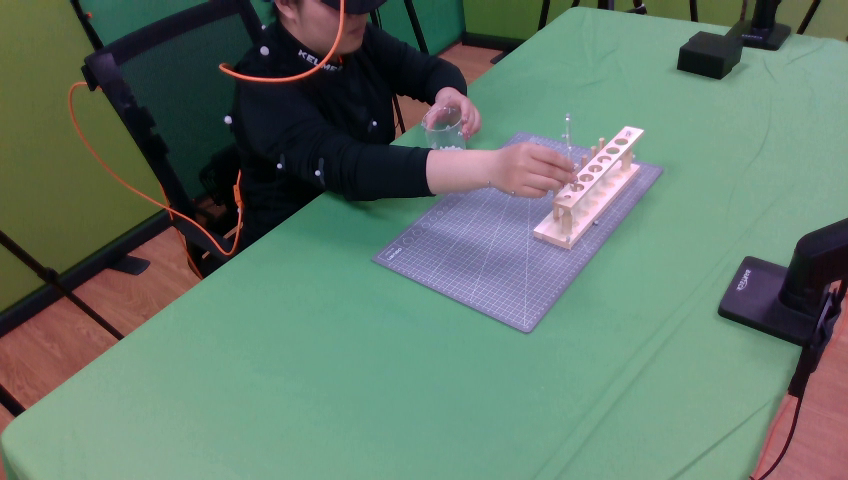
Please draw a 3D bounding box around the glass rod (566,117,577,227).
[{"bbox_3d":[0.219,-0.095,0.896,0.008,0.201,0.008,-9,41,8],"label":"glass rod"}]

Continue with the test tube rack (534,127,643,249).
[{"bbox_3d":[0.272,-0.094,0.990,0.066,0.085,0.243,23,50,33],"label":"test tube rack"}]

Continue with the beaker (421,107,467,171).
[{"bbox_3d":[0.042,-0.186,1.123,0.073,0.101,0.084,8,48,21],"label":"beaker"}]
